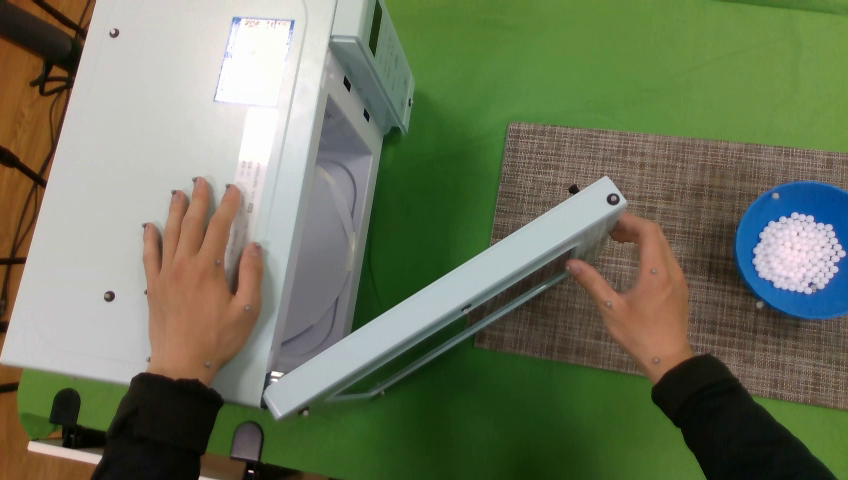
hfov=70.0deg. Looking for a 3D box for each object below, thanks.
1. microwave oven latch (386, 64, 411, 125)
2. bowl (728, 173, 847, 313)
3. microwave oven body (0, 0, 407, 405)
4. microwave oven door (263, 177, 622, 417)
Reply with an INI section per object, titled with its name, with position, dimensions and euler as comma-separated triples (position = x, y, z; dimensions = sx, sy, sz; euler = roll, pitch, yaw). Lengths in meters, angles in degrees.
[microwave oven latch]
position = -0.036, -0.194, 0.800
dimensions = 0.030, 0.029, 0.079
euler = 7, 81, 10
[bowl]
position = 0.411, 0.010, 0.677
dimensions = 0.151, 0.077, 0.150
euler = -2, 79, 10
[microwave oven body]
position = -0.222, -0.057, 0.703
dimensions = 0.325, 0.261, 0.440
euler = 6, 80, 10
[microwave oven door]
position = 0.032, 0.072, 0.630
dimensions = 0.356, 0.245, 0.039
euler = -33, 74, 2
